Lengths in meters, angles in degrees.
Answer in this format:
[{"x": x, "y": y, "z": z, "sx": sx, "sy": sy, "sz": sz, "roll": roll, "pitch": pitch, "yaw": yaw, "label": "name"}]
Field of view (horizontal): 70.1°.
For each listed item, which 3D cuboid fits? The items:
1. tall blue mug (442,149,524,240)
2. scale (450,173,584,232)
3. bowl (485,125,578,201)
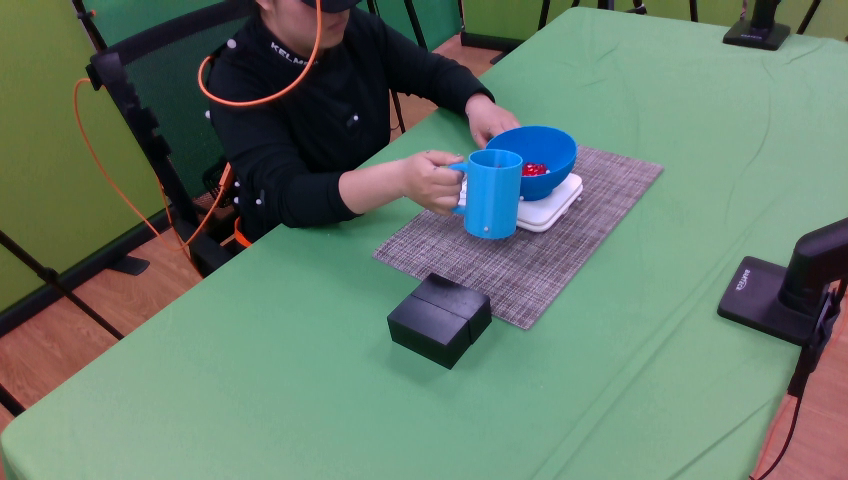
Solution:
[{"x": 0.082, "y": -0.065, "z": 0.852, "sx": 0.107, "sy": 0.108, "sz": 0.077, "roll": -3, "pitch": 29, "yaw": -7, "label": "tall blue mug"}, {"x": 0.156, "y": -0.085, "z": 1.040, "sx": 0.199, "sy": 0.032, "sz": 0.149, "roll": 22, "pitch": 49, "yaw": 33, "label": "scale"}, {"x": 0.176, "y": -0.117, "z": 0.991, "sx": 0.151, "sy": 0.077, "sz": 0.150, "roll": -6, "pitch": 40, "yaw": 5, "label": "bowl"}]
